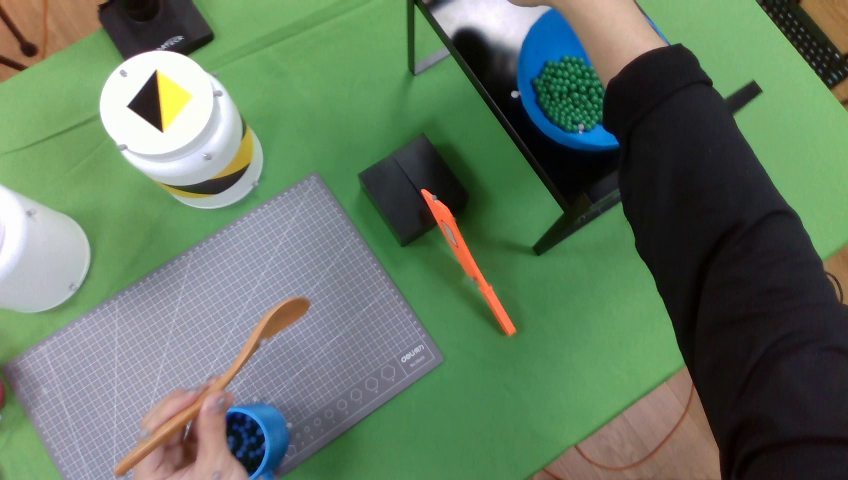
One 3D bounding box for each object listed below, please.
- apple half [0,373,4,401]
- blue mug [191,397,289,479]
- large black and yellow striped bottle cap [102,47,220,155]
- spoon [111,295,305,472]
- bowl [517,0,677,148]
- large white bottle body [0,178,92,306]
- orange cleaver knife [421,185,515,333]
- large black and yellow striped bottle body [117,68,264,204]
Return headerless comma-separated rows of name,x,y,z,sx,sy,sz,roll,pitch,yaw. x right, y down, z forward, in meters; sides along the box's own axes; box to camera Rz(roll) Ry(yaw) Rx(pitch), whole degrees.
apple half,-0.522,0.183,0.695,0.053,0.075,0.080,42,77,2
blue mug,-0.196,0.234,0.678,0.082,0.106,0.116,-25,81,-7
large black and yellow striped bottle cap,-0.272,-0.145,0.627,0.115,0.019,0.114,1,79,-4
spoon,-0.160,0.105,0.476,0.021,0.042,0.193,32,47,9
bowl,0.162,-0.153,0.602,0.151,0.077,0.150,0,79,-2
large white bottle body,-0.480,0.000,0.676,0.131,0.185,0.130,0,78,-1
orange cleaver knife,0.054,0.024,0.741,0.012,0.076,0.213,-34,113,-9
large black and yellow striped bottle body,-0.273,-0.126,0.709,0.131,0.184,0.130,0,78,-1
